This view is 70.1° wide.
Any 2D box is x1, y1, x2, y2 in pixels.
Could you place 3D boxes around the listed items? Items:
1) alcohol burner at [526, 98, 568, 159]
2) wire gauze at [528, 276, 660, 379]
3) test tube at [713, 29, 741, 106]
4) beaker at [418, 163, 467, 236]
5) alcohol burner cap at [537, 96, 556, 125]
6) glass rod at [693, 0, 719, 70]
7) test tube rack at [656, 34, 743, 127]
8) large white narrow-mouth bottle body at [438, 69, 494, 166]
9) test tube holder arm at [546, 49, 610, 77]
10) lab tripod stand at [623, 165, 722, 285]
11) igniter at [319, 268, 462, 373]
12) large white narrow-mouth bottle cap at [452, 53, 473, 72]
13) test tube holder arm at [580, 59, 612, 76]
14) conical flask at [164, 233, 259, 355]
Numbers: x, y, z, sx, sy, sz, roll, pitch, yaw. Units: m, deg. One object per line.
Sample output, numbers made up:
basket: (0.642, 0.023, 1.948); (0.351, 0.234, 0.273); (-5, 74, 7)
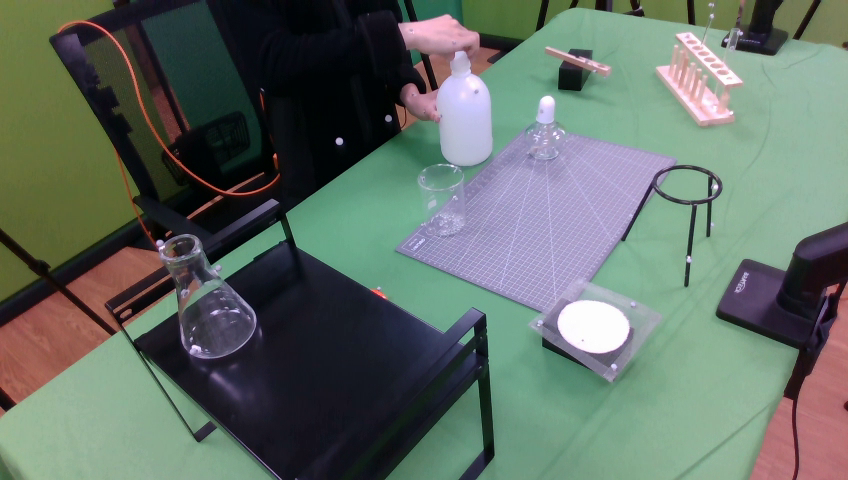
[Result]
alcohol burner: (0.228, -0.210, 1.118); (0.078, 0.119, 0.077); (-5, 43, 5)
wire gauze: (0.213, 0.103, 0.763); (0.124, 0.011, 0.122); (30, 52, 35)
test tube: (0.573, -0.324, 1.146); (0.017, 0.151, 0.017); (-3, 39, 3)
beaker: (0.035, -0.065, 0.990); (0.073, 0.101, 0.084); (24, 49, 32)
alcohol burner cap: (0.223, -0.237, 1.095); (0.034, 0.048, 0.033); (-1, 42, 1)
glass rod: (0.560, -0.401, 1.214); (0.008, 0.200, 0.008); (-1, 48, 1)
test tube rack: (0.553, -0.331, 1.233); (0.067, 0.085, 0.241); (-7, 40, 2)
large white narrow-mouth bottle body: (0.077, -0.242, 1.122); (0.102, 0.195, 0.101); (-4, 40, 4)
test tube holder arm: (0.332, -0.387, 1.315); (0.013, 0.015, 0.177); (-26, 42, -28)
lab tripod stand: (0.365, -0.030, 0.875); (0.148, 0.132, 0.147); (-6, 41, 6)
igniter: (-0.059, 0.107, 0.862); (0.274, 0.025, 0.057); (28, 62, 34)
large white narrow-mouth bottle cap: (0.068, -0.312, 1.061); (0.038, 0.024, 0.037); (-4, 40, 4)
test tube holder arm: (0.363, -0.369, 1.288); (0.010, 0.015, 0.087); (-27, 43, -29)
conical flask: (-0.216, 0.051, 0.601); (0.075, 0.122, 0.075); (-4, 40, 4)
